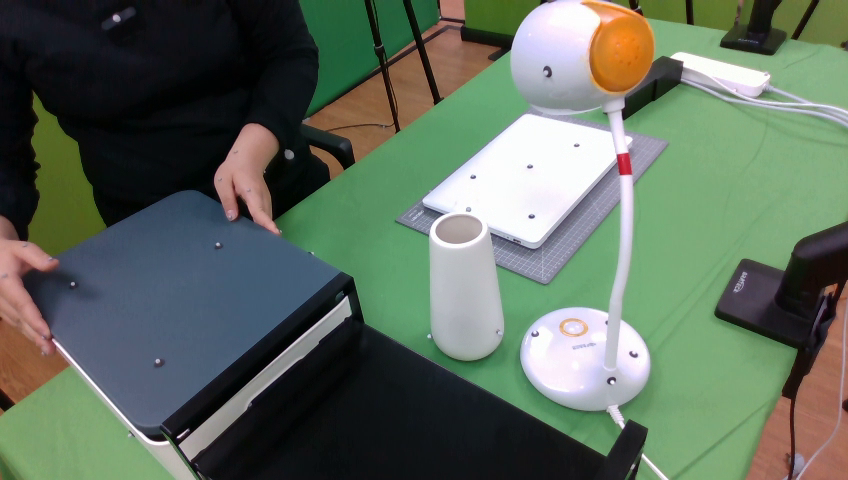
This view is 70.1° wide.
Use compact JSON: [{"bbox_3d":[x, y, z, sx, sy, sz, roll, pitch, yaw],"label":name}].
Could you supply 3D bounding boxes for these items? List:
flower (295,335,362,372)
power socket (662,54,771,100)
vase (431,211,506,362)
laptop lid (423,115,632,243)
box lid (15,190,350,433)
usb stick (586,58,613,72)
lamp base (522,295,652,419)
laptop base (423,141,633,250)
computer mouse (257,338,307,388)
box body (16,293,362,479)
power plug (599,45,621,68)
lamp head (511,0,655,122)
[{"bbox_3d":[-0.232,0.115,0.833,0.359,0.038,0.044,11,86,33],"label":"flower"},{"bbox_3d":[0.615,-0.348,1.284,0.072,0.033,0.225,-36,48,-29],"label":"power socket"},{"bbox_3d":[0.054,0.062,0.757,0.098,0.201,0.097,-3,40,3],"label":"vase"},{"bbox_3d":[0.190,-0.126,1.081,0.239,0.013,0.358,23,48,34],"label":"laptop lid"},{"bbox_3d":[-0.293,0.055,0.721,0.368,0.015,0.264,25,48,34],"label":"box lid"},{"bbox_3d":[0.401,-0.399,1.380,0.059,0.027,0.021,0,48,20],"label":"usb stick"},{"bbox_3d":[0.201,0.095,0.710,0.161,0.181,0.177,-16,43,-10],"label":"lamp base"},{"bbox_3d":[0.193,-0.116,1.087,0.233,0.023,0.355,21,48,34],"label":"laptop base"},{"bbox_3d":[-0.170,0.160,0.790,0.116,0.041,0.063,31,48,23],"label":"computer mouse"},{"bbox_3d":[-0.285,0.123,0.766,0.361,0.161,0.255,25,49,33],"label":"box body"},{"bbox_3d":[0.437,-0.422,1.412,0.053,0.035,0.072,-19,75,-46],"label":"power plug"},{"bbox_3d":[0.155,-0.168,0.564,0.113,0.113,0.122,-18,23,-12],"label":"lamp head"}]
